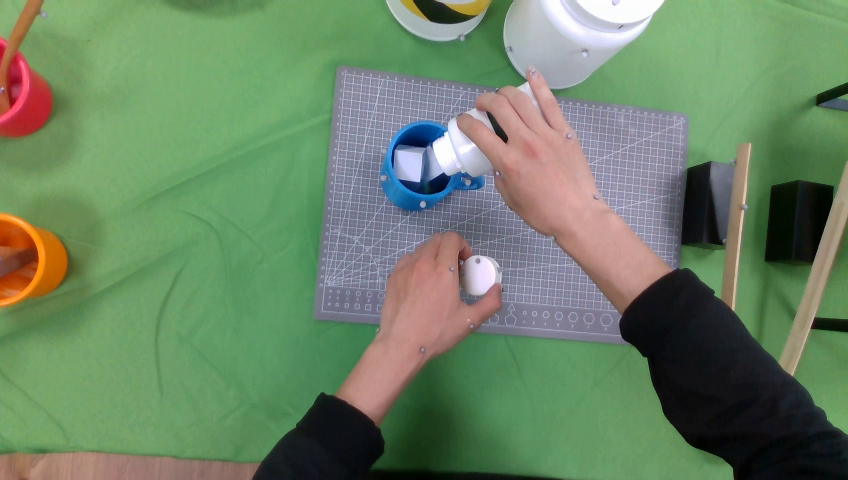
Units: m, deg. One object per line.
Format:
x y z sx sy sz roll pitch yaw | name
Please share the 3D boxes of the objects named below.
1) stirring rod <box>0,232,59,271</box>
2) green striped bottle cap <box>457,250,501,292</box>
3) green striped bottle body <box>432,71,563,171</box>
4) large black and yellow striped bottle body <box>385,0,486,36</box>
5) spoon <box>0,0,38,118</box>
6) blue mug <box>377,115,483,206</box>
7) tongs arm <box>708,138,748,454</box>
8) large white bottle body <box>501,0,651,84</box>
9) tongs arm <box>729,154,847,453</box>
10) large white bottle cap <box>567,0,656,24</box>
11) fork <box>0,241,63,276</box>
-0.437 0.035 0.586 0.014 0.006 0.175 53 39 -7 | stirring rod
0.058 0.033 0.638 0.044 0.020 0.044 -5 81 30 | green striped bottle cap
0.068 -0.109 0.587 0.119 0.063 0.063 -23 91 16 | green striped bottle body
0.024 -0.314 0.650 0.131 0.184 0.130 0 87 -9 | large black and yellow striped bottle body
-0.411 -0.184 0.596 0.194 0.021 0.041 -38 90 35 | spoon
0.008 -0.081 0.675 0.117 0.106 0.082 13 85 -8 | blue mug
0.377 0.073 0.729 0.051 0.026 0.385 1 99 -11 | tongs arm
0.169 -0.263 0.670 0.131 0.184 0.130 0 87 -9 | large white bottle body
0.457 0.081 0.744 0.028 0.027 0.388 14 97 -16 | tongs arm
0.182 -0.268 0.587 0.115 0.018 0.114 1 87 -10 | large white bottle cap
-0.456 -0.005 0.579 0.209 0.018 0.028 31 79 -50 | fork
